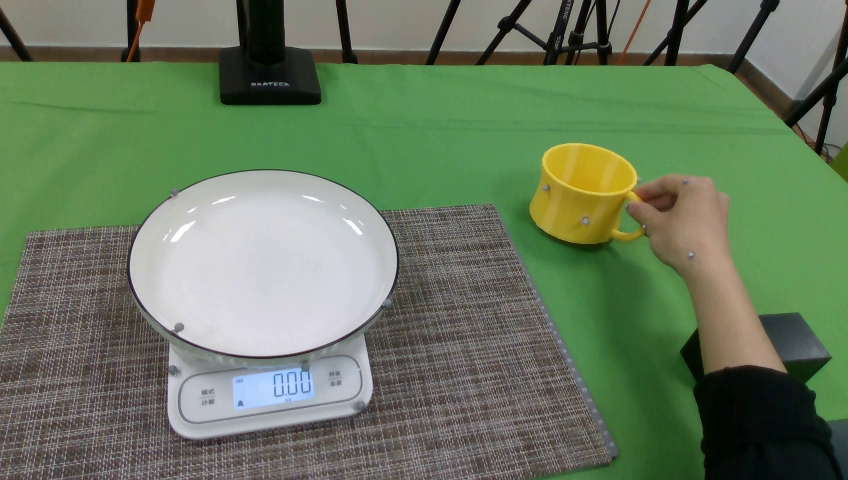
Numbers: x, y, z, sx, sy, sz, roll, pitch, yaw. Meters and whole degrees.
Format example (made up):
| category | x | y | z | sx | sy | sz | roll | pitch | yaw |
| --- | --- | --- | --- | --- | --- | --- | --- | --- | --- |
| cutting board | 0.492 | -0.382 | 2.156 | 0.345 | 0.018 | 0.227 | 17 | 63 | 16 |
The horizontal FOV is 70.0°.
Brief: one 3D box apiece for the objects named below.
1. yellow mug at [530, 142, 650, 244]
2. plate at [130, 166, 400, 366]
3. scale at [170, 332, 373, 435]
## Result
| category | x | y | z | sx | sy | sz | roll | pitch | yaw |
| --- | --- | --- | --- | --- | --- | --- | --- | --- | --- |
| yellow mug | 0.181 | -0.044 | 0.644 | 0.129 | 0.064 | 0.100 | 36 | 47 | 29 |
| plate | -0.125 | 0.018 | 0.497 | 0.209 | 0.038 | 0.207 | 6 | 45 | -6 |
| scale | -0.128 | 0.058 | 0.503 | 0.149 | 0.032 | 0.198 | -4 | 47 | -15 |
